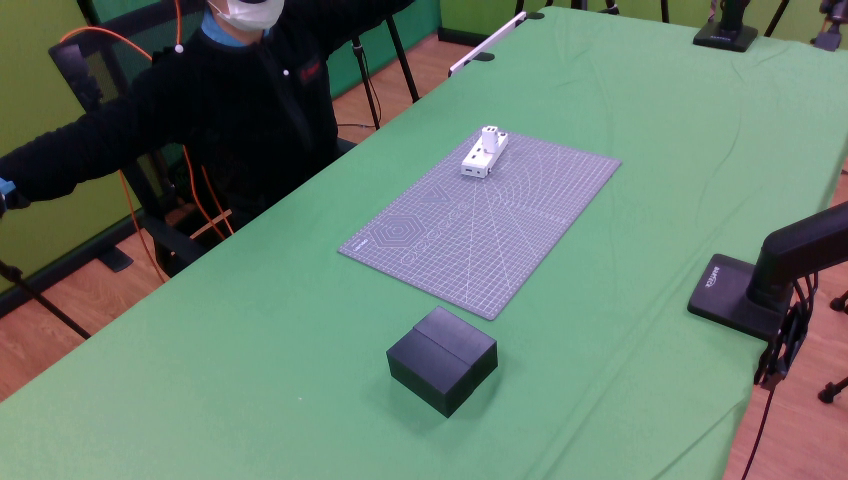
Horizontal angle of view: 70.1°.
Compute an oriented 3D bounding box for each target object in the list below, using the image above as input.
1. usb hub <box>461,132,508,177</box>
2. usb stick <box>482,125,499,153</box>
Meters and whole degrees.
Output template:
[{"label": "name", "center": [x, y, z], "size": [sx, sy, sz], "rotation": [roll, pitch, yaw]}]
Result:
[{"label": "usb hub", "center": [0.116, -0.163, 1.135], "size": [0.049, 0.025, 0.125], "rotation": [14, 45, 22]}, {"label": "usb stick", "center": [0.123, -0.179, 1.107], "size": [0.027, 0.059, 0.021], "rotation": [13, 43, 21]}]
